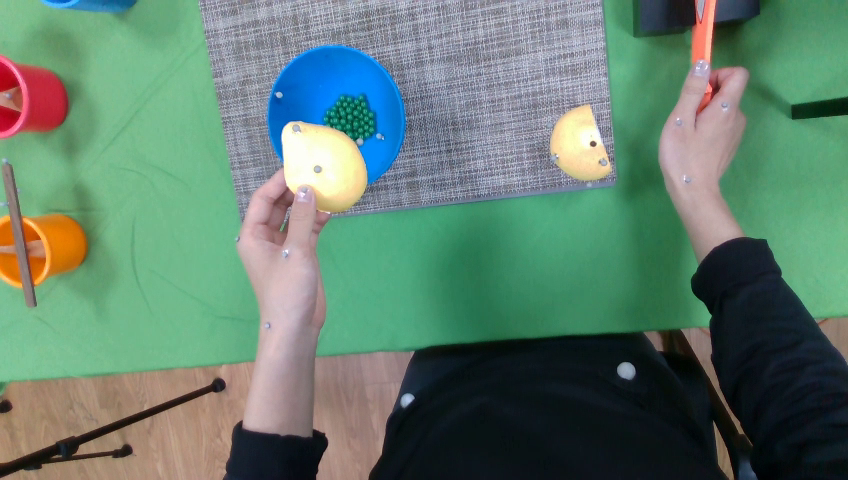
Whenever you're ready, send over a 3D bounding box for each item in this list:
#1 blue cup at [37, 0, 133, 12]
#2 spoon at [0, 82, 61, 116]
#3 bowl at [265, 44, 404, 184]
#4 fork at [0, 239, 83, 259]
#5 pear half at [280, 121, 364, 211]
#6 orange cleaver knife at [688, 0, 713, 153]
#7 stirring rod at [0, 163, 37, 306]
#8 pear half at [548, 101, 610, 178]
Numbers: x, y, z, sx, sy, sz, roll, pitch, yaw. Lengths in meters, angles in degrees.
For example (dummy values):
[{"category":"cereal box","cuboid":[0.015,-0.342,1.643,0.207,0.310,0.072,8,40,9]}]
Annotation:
[{"category":"blue cup","cuboid":[-0.379,-0.297,0.680,0.092,0.100,0.093,2,102,9]},{"category":"spoon","cuboid":[-0.542,-0.167,0.715,0.195,0.021,0.042,-8,104,-32]},{"category":"bowl","cuboid":[-0.088,-0.132,0.666,0.151,0.077,0.152,2,101,11]},{"category":"fork","cuboid":[-0.539,0.009,0.745,0.209,0.018,0.028,3,115,-34]},{"category":"pear half","cuboid":[-0.086,-0.066,0.520,0.070,0.031,0.089,-50,118,-19]},{"category":"orange cleaver knife","cuboid":[0.265,-0.186,0.584,0.012,0.076,0.213,-7,129,12]},{"category":"stirring rod","cuboid":[-0.490,-0.004,0.731,0.014,0.006,0.176,-2,101,8]},{"category":"pear half","cuboid":[0.154,-0.097,0.610,0.056,0.110,0.076,-26,91,15]}]
